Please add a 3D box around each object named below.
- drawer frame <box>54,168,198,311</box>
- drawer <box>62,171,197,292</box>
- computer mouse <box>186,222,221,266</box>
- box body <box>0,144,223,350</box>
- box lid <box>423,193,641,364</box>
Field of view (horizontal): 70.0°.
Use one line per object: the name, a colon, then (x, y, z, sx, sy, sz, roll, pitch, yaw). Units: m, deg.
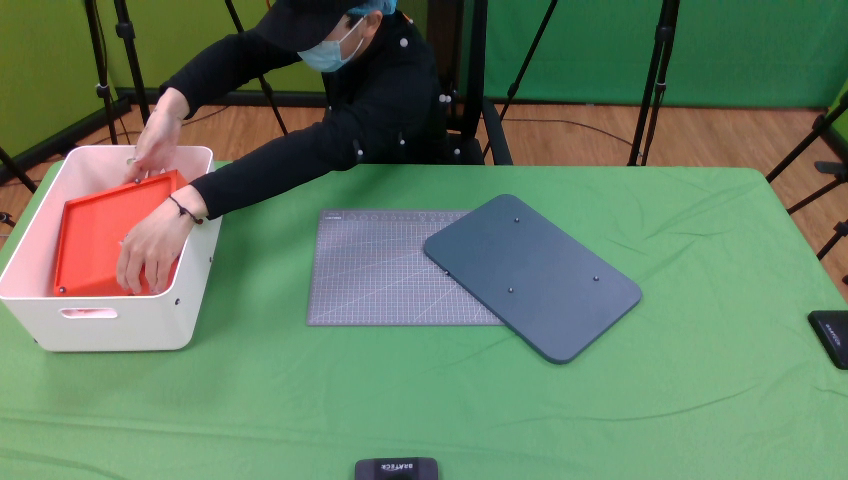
drawer frame: (-0.509, -0.002, 1.053, 0.213, 0.083, 0.200, -17, 59, 2)
drawer: (-0.506, -0.002, 1.058, 0.212, 0.073, 0.193, -16, 59, 4)
computer mouse: (-0.409, -0.001, 1.063, 0.063, 0.041, 0.116, -34, 51, -27)
box body: (-0.510, 0.008, 1.054, 0.254, 0.161, 0.361, -1, 46, -5)
box lid: (0.202, 0.054, 1.168, 0.263, 0.015, 0.369, -31, 56, -30)
